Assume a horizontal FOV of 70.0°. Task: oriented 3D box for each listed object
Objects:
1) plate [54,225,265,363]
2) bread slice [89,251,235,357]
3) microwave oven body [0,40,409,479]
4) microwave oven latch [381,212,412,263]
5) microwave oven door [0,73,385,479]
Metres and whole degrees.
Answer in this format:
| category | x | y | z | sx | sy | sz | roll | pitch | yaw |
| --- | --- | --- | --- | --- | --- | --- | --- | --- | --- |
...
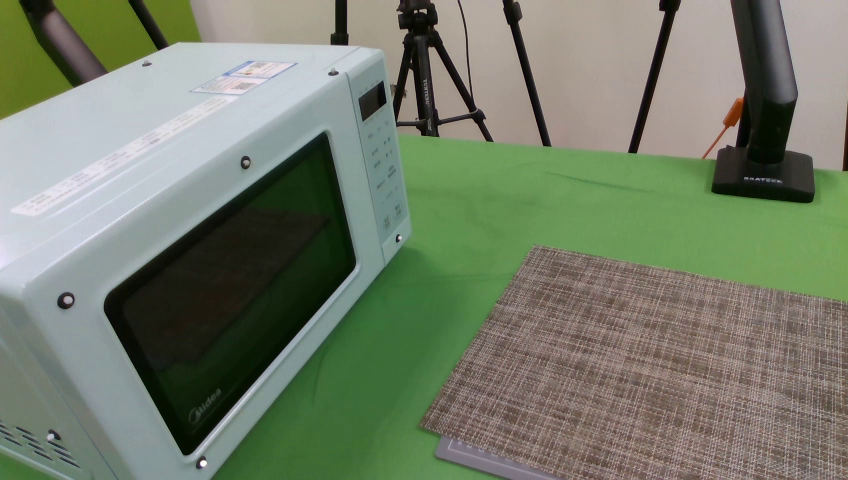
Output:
| category | x | y | z | sx | sy | sz | roll | pitch | yaw |
| --- | --- | --- | --- | --- | --- | --- | --- | --- | --- |
| plate | -0.265 | 0.054 | 0.628 | 0.209 | 0.038 | 0.207 | -6 | 33 | 5 |
| bread slice | -0.268 | 0.057 | 0.633 | 0.104 | 0.019 | 0.131 | 17 | 45 | 31 |
| microwave oven body | -0.263 | -0.009 | 0.628 | 0.324 | 0.262 | 0.440 | 10 | 38 | 24 |
| microwave oven latch | -0.042 | -0.005 | 0.750 | 0.030 | 0.030 | 0.079 | 10 | 38 | 25 |
| microwave oven door | -0.150 | 0.030 | 0.535 | 0.039 | 0.246 | 0.354 | 9 | 37 | 24 |
